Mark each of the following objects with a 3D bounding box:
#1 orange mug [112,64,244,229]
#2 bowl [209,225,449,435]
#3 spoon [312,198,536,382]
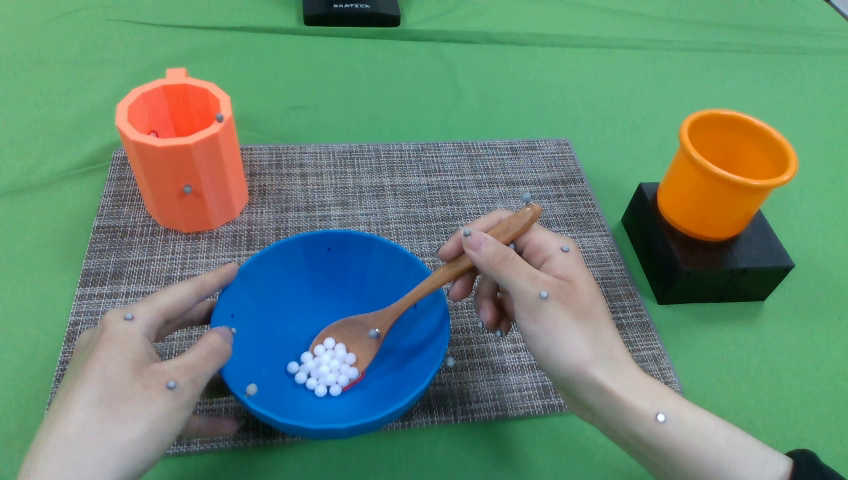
[{"bbox_3d":[-0.204,-0.087,0.512,0.084,0.101,0.125,-9,56,-15],"label":"orange mug"},{"bbox_3d":[-0.062,0.071,0.413,0.151,0.077,0.150,4,49,-5],"label":"bowl"},{"bbox_3d":[-0.006,0.035,0.389,0.022,0.194,0.041,30,31,-33],"label":"spoon"}]
